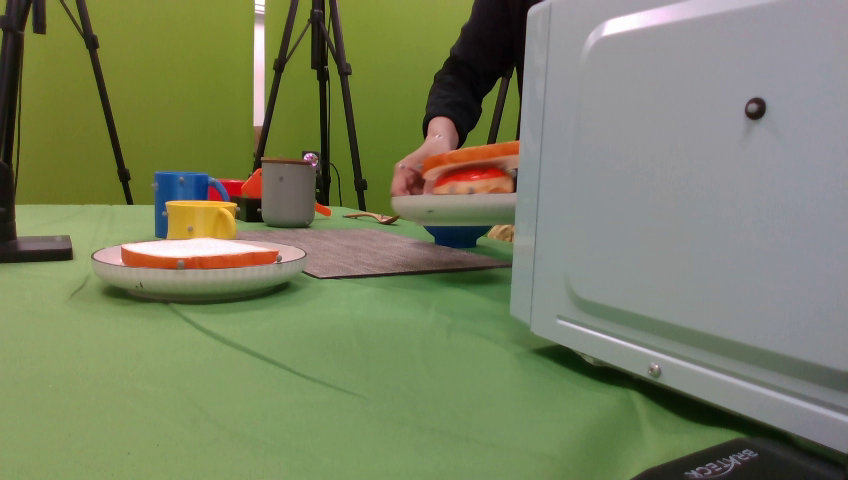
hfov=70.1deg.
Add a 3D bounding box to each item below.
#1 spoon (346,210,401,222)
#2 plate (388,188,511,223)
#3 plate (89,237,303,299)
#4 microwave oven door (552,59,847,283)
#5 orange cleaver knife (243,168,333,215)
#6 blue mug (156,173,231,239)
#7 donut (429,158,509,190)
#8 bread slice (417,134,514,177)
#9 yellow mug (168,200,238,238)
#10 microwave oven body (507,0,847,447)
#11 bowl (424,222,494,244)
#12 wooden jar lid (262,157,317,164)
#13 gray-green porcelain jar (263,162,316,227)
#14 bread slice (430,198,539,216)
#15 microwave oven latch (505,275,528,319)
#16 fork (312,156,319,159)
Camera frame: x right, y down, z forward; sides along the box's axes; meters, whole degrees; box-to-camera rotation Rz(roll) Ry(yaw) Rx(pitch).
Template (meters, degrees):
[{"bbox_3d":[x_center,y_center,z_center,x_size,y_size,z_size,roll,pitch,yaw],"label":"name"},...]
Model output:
[{"bbox_3d":[-0.121,-0.060,1.400,0.042,0.021,0.192,-28,25,-38],"label":"spoon"},{"bbox_3d":[0.060,-0.042,0.740,0.209,0.038,0.209,-1,3,0],"label":"plate"},{"bbox_3d":[-0.233,0.029,0.637,0.208,0.039,0.207,2,7,0],"label":"plate"},{"bbox_3d":[0.328,-0.092,0.781,0.039,0.243,0.354,-5,10,-42],"label":"microwave oven door"},{"bbox_3d":[-0.300,-0.089,1.351,0.212,0.077,0.012,28,-9,-34],"label":"orange cleaver knife"},{"bbox_3d":[-0.381,-0.057,1.004,0.117,0.106,0.082,1,8,-12],"label":"blue mug"},{"bbox_3d":[0.055,-0.069,0.742,0.099,0.048,0.099,-16,-6,-1],"label":"donut"},{"bbox_3d":[0.058,-0.100,0.735,0.134,0.018,0.107,-10,-5,-2],"label":"bread slice"},{"bbox_3d":[-0.320,-0.023,0.904,0.130,0.064,0.100,9,10,36],"label":"yellow mug"},{"bbox_3d":[0.331,-0.042,0.426,0.444,0.260,0.324,-2,8,-31],"label":"microwave oven body"},{"bbox_3d":[0.059,-0.035,1.049,0.151,0.077,0.151,2,7,0],"label":"bowl"},{"bbox_3d":[-0.269,-0.154,1.208,0.108,0.020,0.108,3,4,0],"label":"wooden jar lid"},{"bbox_3d":[-0.271,-0.092,1.217,0.106,0.126,0.106,2,7,0],"label":"gray-green porcelain jar"},{"bbox_3d":[0.073,-0.041,0.742,0.131,0.019,0.105,-2,5,0],"label":"bread slice"},{"bbox_3d":[0.100,0.042,0.471,0.079,0.029,0.030,-1,7,-28],"label":"microwave oven latch"},{"bbox_3d":[-0.331,-0.144,1.506,0.207,0.018,0.028,-42,-19,22],"label":"fork"}]
